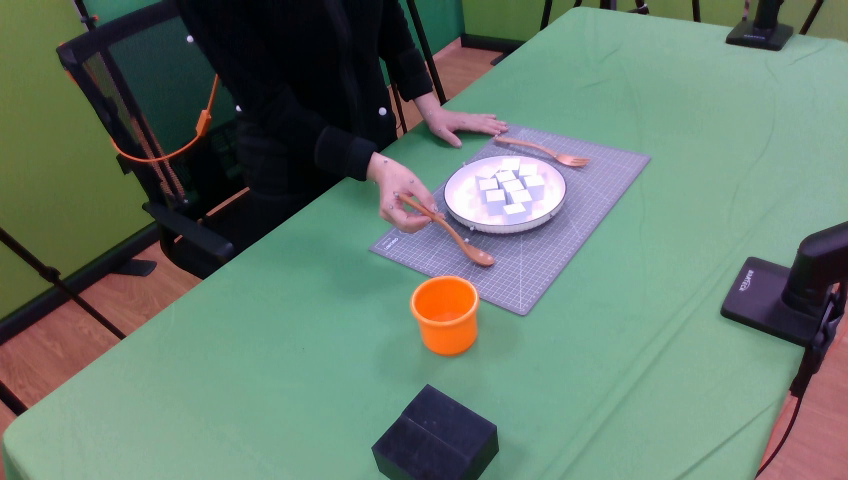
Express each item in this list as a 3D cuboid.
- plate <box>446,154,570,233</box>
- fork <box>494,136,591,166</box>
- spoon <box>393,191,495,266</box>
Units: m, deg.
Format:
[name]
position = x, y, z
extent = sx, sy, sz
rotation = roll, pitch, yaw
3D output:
[plate]
position = 0.142, -0.076, 1.033
extent = 0.207, 0.039, 0.206
rotation = -5, 40, 5
[fork]
position = 0.219, -0.171, 1.144
extent = 0.205, 0.019, 0.028
rotation = 24, 56, 31
[spoon]
position = 0.031, -0.018, 0.905
extent = 0.021, 0.195, 0.041
rotation = -44, 21, 20
